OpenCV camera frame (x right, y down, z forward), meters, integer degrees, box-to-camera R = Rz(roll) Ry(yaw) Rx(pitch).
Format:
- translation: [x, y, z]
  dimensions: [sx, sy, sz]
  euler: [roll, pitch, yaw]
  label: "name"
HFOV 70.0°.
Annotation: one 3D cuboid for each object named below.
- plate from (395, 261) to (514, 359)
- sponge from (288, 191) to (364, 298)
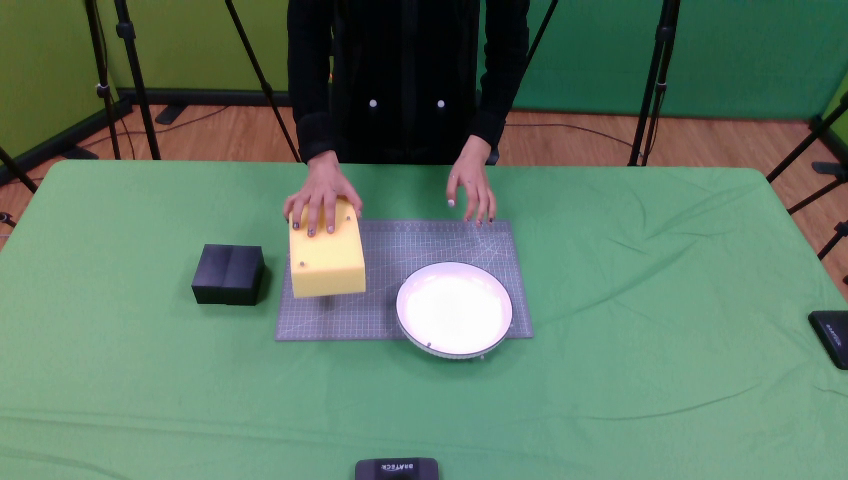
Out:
- translation: [0.052, 0.124, 1.066]
  dimensions: [0.209, 0.038, 0.208]
  euler: [2, 46, -2]
  label: "plate"
- translation: [-0.174, 0.003, 1.054]
  dimensions: [0.118, 0.061, 0.205]
  euler: [-6, 42, -10]
  label: "sponge"
